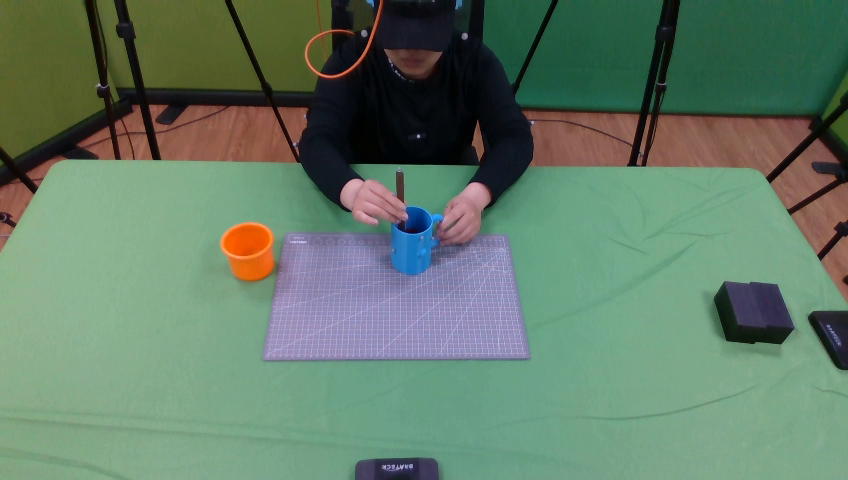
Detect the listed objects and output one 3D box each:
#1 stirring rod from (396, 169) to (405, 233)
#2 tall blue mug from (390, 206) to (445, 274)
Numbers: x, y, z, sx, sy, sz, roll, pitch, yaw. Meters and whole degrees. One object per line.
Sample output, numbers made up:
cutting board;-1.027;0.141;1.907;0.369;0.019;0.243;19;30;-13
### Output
stirring rod;-0.041;-0.049;1.073;0.014;0.177;0.006;13;41;15
tall blue mug;-0.017;-0.008;1.142;0.077;0.108;0.107;23;49;19
